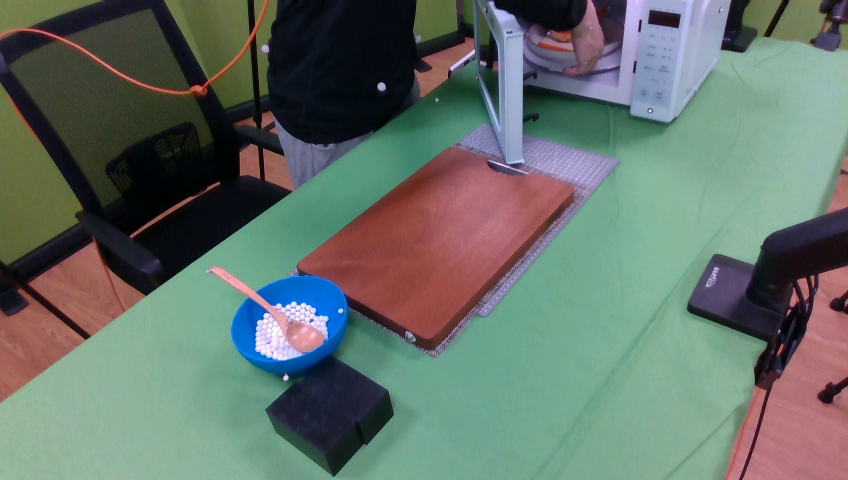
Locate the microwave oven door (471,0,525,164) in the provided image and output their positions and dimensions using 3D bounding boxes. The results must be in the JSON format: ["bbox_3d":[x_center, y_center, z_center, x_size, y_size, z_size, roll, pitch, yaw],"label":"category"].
[{"bbox_3d":[0.136,-0.342,1.153,0.039,0.245,0.353,-8,40,-1],"label":"microwave oven door"}]

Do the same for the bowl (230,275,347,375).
[{"bbox_3d":[-0.171,0.125,0.802,0.151,0.077,0.150,-4,40,4],"label":"bowl"}]

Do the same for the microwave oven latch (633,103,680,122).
[{"bbox_3d":[0.443,-0.249,1.158,0.078,0.029,0.030,21,49,30],"label":"microwave oven latch"}]

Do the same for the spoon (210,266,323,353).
[{"bbox_3d":[-0.213,0.087,0.806,0.193,0.021,0.042,37,56,11],"label":"spoon"}]

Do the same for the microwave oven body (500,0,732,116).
[{"bbox_3d":[0.377,-0.463,1.267,0.438,0.261,0.327,21,49,30],"label":"microwave oven body"}]

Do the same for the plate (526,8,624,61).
[{"bbox_3d":[0.331,-0.448,1.332,0.207,0.039,0.206,-6,44,6],"label":"plate"}]

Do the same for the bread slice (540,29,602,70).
[{"bbox_3d":[0.330,-0.425,1.342,0.104,0.019,0.131,17,59,40],"label":"bread slice"}]

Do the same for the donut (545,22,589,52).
[{"bbox_3d":[0.307,-0.432,1.298,0.099,0.048,0.098,-23,33,17],"label":"donut"}]

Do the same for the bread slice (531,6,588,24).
[{"bbox_3d":[0.290,-0.476,1.278,0.106,0.018,0.134,4,29,18],"label":"bread slice"}]
